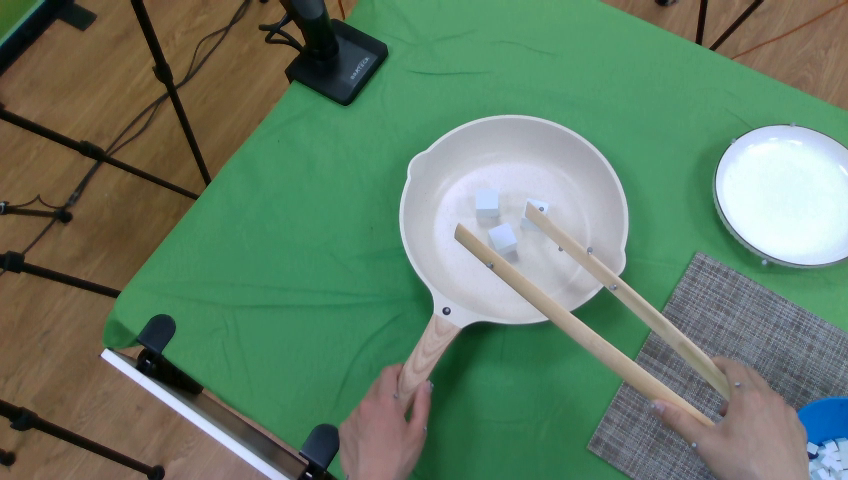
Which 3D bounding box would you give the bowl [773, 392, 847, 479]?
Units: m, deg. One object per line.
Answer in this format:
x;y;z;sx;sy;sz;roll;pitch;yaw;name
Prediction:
0.455;0.250;0.672;0.151;0.077;0.150;-1;70;3;bowl

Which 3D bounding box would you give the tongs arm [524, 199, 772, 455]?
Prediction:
0.217;0.070;0.669;0.051;0.027;0.380;-17;45;-29;tongs arm

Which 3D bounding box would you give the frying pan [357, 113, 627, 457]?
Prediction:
0.058;0.050;0.760;0.305;0.103;0.486;29;66;14;frying pan

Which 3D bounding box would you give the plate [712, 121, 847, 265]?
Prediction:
0.490;-0.062;0.811;0.207;0.039;0.206;-1;70;3;plate

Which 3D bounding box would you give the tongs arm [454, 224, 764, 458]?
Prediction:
0.165;0.090;0.638;0.028;0.028;0.383;-22;47;-37;tongs arm
